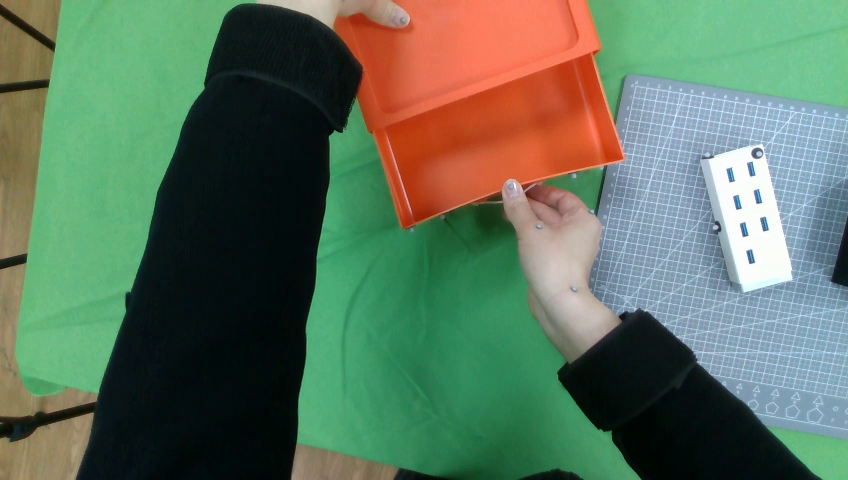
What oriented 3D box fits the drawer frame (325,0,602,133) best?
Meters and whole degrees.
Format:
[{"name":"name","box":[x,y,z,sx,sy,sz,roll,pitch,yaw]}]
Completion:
[{"name":"drawer frame","box":[0.016,-0.222,0.509,0.201,0.082,0.214,-19,95,6]}]

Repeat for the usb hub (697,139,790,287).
[{"name":"usb hub","box":[0.289,-0.024,0.545,0.049,0.025,0.125,-16,96,4]}]

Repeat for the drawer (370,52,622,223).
[{"name":"drawer","box":[0.041,-0.141,0.524,0.194,0.073,0.212,-18,94,5]}]
